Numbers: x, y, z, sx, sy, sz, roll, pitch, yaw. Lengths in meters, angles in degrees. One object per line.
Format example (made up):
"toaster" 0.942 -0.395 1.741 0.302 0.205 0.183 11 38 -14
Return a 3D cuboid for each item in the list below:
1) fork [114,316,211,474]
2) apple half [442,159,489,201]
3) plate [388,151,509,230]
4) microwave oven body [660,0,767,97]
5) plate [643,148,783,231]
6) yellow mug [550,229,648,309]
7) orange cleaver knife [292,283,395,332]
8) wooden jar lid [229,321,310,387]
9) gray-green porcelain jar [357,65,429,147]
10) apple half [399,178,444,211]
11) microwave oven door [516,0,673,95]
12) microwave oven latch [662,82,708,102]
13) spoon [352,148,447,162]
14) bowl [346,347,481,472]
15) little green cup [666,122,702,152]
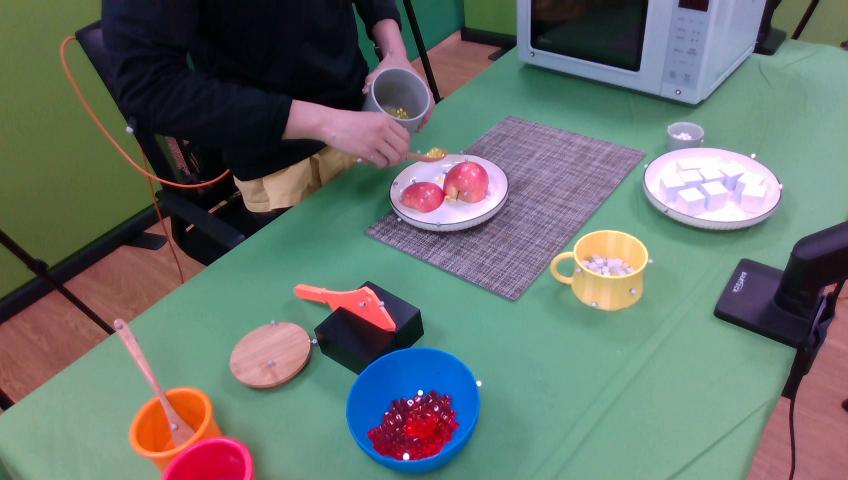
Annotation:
"fork" -0.308 0.179 0.708 0.028 0.018 0.207 -30 89 -23
"apple half" 0.074 -0.110 1.047 0.080 0.053 0.075 21 46 30
"plate" 0.043 -0.083 1.043 0.209 0.038 0.208 -4 41 4
"microwave oven body" 0.473 -0.516 1.313 0.438 0.261 0.327 26 51 34
"plate" 0.464 -0.080 0.986 0.207 0.039 0.206 -4 41 4
"yellow mug" 0.245 0.040 0.856 0.130 0.064 0.099 1 42 11
"orange cleaver knife" -0.115 0.092 0.835 0.209 0.077 0.012 1 32 48
"wooden jar lid" -0.207 0.156 0.820 0.108 0.021 0.108 -3 39 3
"gray-green porcelain jar" -0.060 -0.233 1.084 0.106 0.126 0.105 6 70 -18
"apple half" -0.004 -0.088 1.045 0.081 0.033 0.081 -2 44 3
"microwave oven door" 0.344 -0.458 1.256 0.353 0.245 0.039 26 51 33
"microwave oven latch" 0.518 -0.299 1.203 0.078 0.029 0.030 29 53 36
"spoon" -0.036 -0.135 0.958 0.195 0.021 0.041 -8 18 -44
"bowl" -0.008 0.205 0.691 0.151 0.077 0.150 -4 40 4
"little green cup" 0.471 -0.184 1.102 0.061 0.039 0.061 -5 41 5
